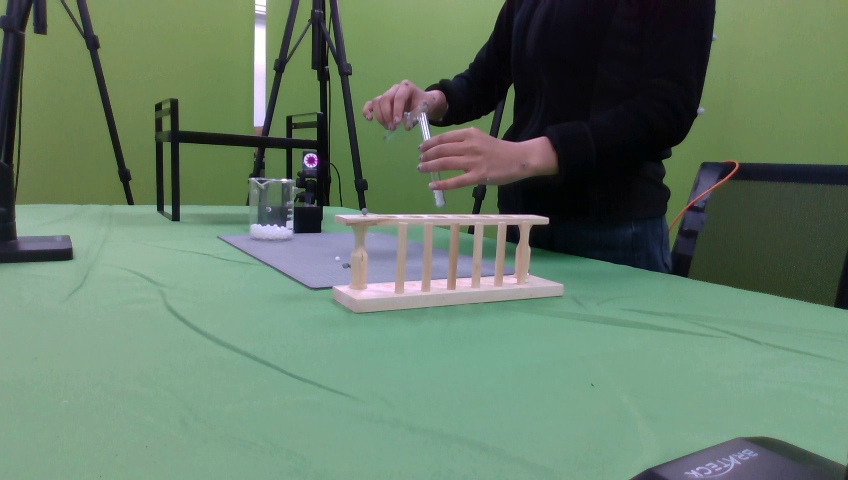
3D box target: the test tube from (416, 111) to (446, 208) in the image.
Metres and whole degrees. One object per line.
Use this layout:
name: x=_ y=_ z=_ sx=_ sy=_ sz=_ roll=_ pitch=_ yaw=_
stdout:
test tube: x=0.011 y=-0.117 z=0.876 sx=0.017 sy=0.150 sz=0.017 roll=-11 pitch=-15 yaw=-3

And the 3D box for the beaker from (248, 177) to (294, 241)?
beaker: x=-0.252 y=-0.051 z=0.992 sx=0.074 sy=0.100 sz=0.084 roll=3 pitch=9 yaw=6

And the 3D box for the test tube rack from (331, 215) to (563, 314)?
test tube rack: x=0.031 y=0.019 z=0.625 sx=0.243 sy=0.085 sz=0.066 roll=-1 pitch=8 yaw=-28

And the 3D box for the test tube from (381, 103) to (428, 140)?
test tube: x=-0.034 y=-0.187 z=0.966 sx=0.017 sy=0.017 sz=0.149 roll=-1 pitch=-7 yaw=-28
